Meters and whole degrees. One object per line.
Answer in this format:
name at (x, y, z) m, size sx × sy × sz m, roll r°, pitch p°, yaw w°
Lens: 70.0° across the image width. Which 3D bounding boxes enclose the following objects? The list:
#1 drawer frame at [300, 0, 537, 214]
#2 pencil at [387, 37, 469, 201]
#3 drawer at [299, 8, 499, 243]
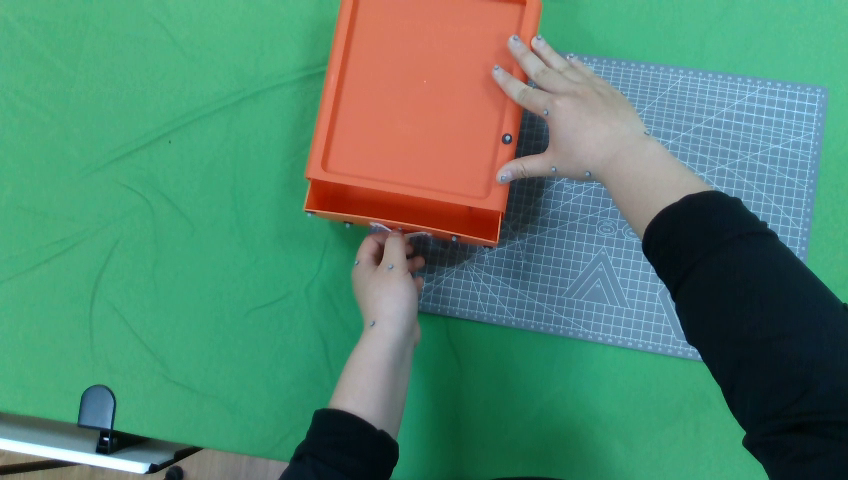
drawer frame at (-0.003, -0.145, 0.619) m, size 0.201 × 0.083 × 0.213 m, roll 9°, pitch 86°, yaw 6°
pencil at (0.005, -0.128, 0.642) m, size 0.012 × 0.012 × 0.193 m, roll -26°, pitch 87°, yaw 3°
drawer at (-0.008, -0.113, 0.617) m, size 0.194 × 0.073 × 0.211 m, roll 10°, pitch 86°, yaw 7°
